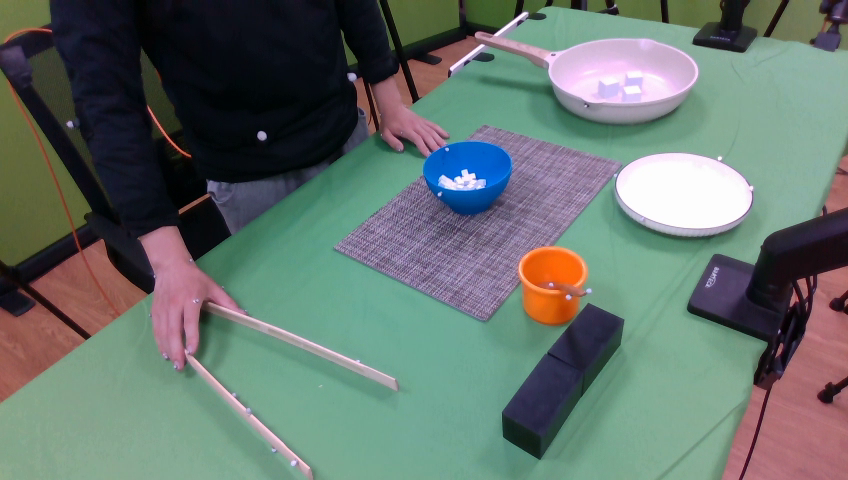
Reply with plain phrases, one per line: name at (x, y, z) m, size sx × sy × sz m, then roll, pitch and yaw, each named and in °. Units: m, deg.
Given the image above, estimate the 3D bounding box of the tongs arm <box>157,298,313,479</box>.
tongs arm at (-0.252, 0.178, 0.787) m, size 0.381 × 0.026 × 0.051 m, roll 26°, pitch 50°, yaw 34°

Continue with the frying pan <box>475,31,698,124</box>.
frying pan at (0.320, -0.371, 1.290) m, size 0.485 × 0.103 × 0.307 m, roll 28°, pitch 50°, yaw 23°

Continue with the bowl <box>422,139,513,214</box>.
bowl at (0.075, -0.097, 1.021) m, size 0.151 × 0.077 × 0.150 m, roll -4°, pitch 41°, yaw 4°

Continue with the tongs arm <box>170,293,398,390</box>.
tongs arm at (-0.203, 0.135, 0.834) m, size 0.385 × 0.028 × 0.028 m, roll 15°, pitch 49°, yaw 25°

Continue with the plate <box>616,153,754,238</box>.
plate at (0.416, -0.069, 0.977) m, size 0.207 × 0.039 × 0.206 m, roll -4°, pitch 40°, yaw 4°

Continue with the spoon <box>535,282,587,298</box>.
spoon at (0.176, 0.063, 0.774) m, size 0.041 × 0.194 × 0.021 m, roll -3°, pitch 85°, yaw 0°
